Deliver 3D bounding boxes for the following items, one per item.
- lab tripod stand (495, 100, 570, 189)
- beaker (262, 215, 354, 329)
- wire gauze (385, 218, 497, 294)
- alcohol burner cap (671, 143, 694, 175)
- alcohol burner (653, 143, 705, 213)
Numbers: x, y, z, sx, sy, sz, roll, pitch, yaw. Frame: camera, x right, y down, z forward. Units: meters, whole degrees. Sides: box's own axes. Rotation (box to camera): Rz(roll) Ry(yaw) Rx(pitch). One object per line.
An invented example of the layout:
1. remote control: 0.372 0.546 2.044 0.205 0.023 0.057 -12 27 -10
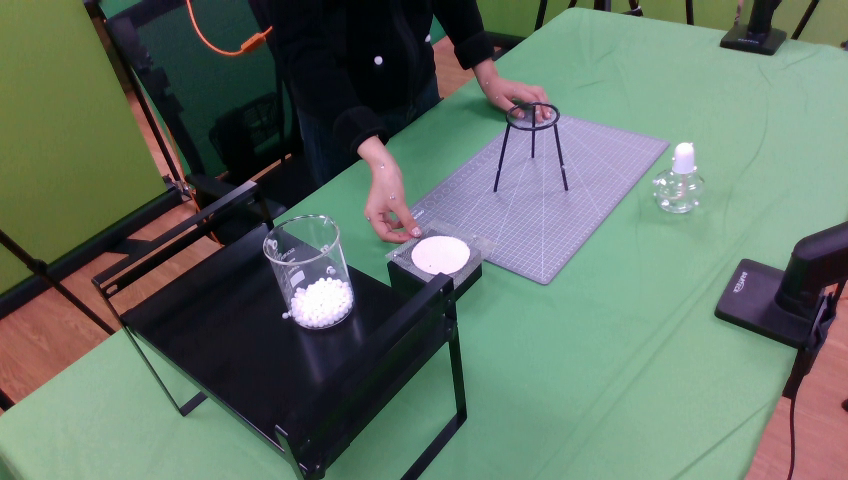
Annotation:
1. lab tripod stand: 0.186 -0.161 1.043 0.148 0.132 0.147 -4 43 4
2. beaker: -0.112 0.034 0.616 0.073 0.101 0.084 13 44 23
3. wire gauze: 0.025 0.017 0.886 0.124 0.011 0.122 26 48 32
4. alcohol burner cap: 0.404 -0.129 0.941 0.034 0.048 0.033 -9 40 8
5. alcohol burner: 0.408 -0.102 0.963 0.078 0.119 0.077 -6 42 5
